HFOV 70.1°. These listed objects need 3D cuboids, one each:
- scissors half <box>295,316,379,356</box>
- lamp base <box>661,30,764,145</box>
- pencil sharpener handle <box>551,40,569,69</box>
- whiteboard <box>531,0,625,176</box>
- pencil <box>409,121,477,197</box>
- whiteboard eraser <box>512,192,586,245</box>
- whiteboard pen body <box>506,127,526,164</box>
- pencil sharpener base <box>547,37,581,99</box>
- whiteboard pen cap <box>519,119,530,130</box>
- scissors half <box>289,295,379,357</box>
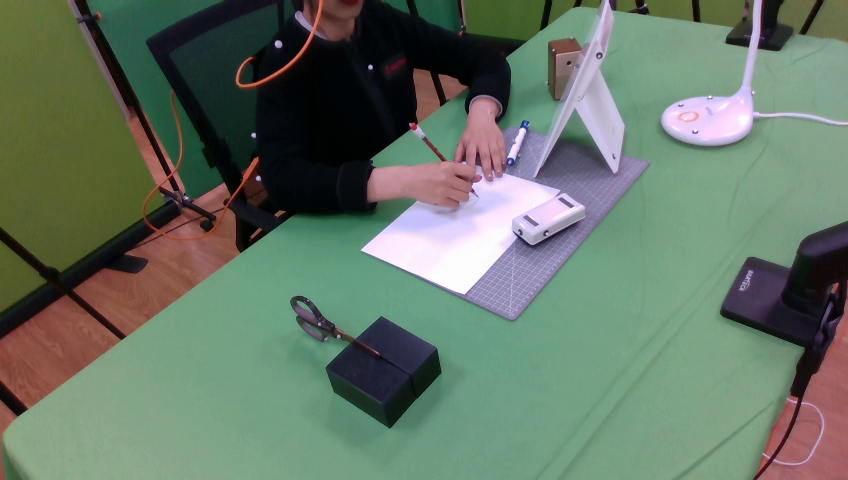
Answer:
[{"bbox_3d":[-0.119,0.131,0.813,0.174,0.040,0.013,9,34,45],"label":"scissors half"},{"bbox_3d":[0.535,-0.287,1.096,0.179,0.181,0.159,-10,40,-4],"label":"lamp base"},{"bbox_3d":[0.291,-0.409,1.321,0.036,0.068,0.030,2,40,-6],"label":"pencil sharpener handle"},{"bbox_3d":[0.320,-0.258,1.050,0.144,0.306,0.217,22,45,5],"label":"whiteboard"},{"bbox_3d":[0.036,-0.129,1.006,0.012,0.196,0.012,-26,41,25],"label":"pencil"},{"bbox_3d":[0.199,-0.032,0.962,0.113,0.042,0.055,-27,42,-20],"label":"whiteboard eraser"},{"bbox_3d":[0.181,-0.189,1.162,0.017,0.017,0.140,8,42,19],"label":"whiteboard pen body"},{"bbox_3d":[0.299,-0.368,1.290,0.061,0.107,0.076,-8,40,3],"label":"pencil sharpener base"},{"bbox_3d":[0.199,-0.226,1.204,0.018,0.018,0.033,7,41,18],"label":"whiteboard pen cap"},{"bbox_3d":[-0.122,0.114,0.803,0.174,0.040,0.013,26,50,32],"label":"scissors half"}]
